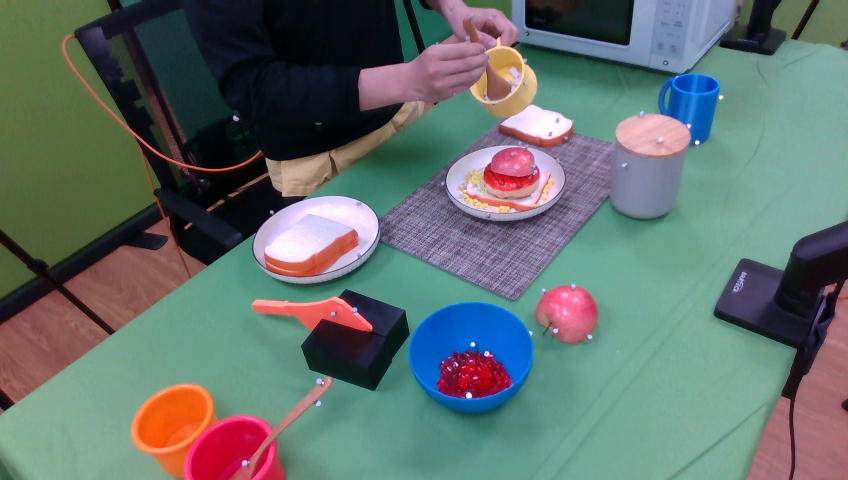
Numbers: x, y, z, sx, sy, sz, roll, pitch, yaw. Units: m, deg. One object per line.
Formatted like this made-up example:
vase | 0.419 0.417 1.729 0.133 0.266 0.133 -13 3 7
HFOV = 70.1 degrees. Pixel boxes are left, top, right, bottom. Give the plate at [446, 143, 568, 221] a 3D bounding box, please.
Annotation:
plate | 0.142 -0.097 1.045 0.207 0.039 0.206 -4 40 4

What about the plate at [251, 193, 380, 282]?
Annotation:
plate | -0.174 -0.001 0.984 0.209 0.038 0.208 -4 40 4

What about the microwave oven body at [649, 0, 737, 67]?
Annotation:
microwave oven body | 0.475 -0.602 1.411 0.438 0.261 0.327 23 50 32

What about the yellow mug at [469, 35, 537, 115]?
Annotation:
yellow mug | 0.134 -0.286 1.028 0.099 0.064 0.130 -5 77 27

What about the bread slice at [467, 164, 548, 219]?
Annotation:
bread slice | 0.143 -0.088 1.051 0.134 0.018 0.107 14 48 13

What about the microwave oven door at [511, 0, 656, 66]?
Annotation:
microwave oven door | 0.350 -0.539 1.349 0.353 0.245 0.039 24 50 31

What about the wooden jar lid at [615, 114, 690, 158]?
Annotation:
wooden jar lid | 0.347 -0.155 0.923 0.108 0.021 0.108 -3 44 4

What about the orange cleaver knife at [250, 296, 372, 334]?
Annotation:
orange cleaver knife | -0.159 0.103 0.828 0.210 0.078 0.012 -4 43 39

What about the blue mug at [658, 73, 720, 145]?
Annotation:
blue mug | 0.483 -0.250 1.127 0.082 0.106 0.115 -26 44 -19

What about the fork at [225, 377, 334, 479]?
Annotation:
fork | -0.163 0.216 0.647 0.207 0.019 0.028 -49 42 16

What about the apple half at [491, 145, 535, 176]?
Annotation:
apple half | 0.147 -0.139 0.994 0.081 0.033 0.081 1 38 0

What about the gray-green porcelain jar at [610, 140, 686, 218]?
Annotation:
gray-green porcelain jar | 0.354 -0.106 0.964 0.106 0.127 0.105 -4 41 4

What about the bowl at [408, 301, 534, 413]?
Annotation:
bowl | 0.059 0.156 0.739 0.151 0.077 0.150 -4 40 4

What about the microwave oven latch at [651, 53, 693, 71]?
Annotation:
microwave oven latch | 0.532 -0.386 1.301 0.078 0.029 0.030 27 52 34

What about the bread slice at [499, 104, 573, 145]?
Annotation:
bread slice | 0.231 -0.231 1.205 0.105 0.019 0.130 -37 47 -28

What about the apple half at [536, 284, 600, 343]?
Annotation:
apple half | 0.196 0.091 0.815 0.075 0.053 0.080 -22 42 -20

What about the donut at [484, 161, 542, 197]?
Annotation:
donut | 0.149 -0.109 1.016 0.099 0.048 0.098 -4 40 4

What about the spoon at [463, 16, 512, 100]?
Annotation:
spoon | 0.089 -0.260 0.881 0.041 0.195 0.021 -24 59 13
